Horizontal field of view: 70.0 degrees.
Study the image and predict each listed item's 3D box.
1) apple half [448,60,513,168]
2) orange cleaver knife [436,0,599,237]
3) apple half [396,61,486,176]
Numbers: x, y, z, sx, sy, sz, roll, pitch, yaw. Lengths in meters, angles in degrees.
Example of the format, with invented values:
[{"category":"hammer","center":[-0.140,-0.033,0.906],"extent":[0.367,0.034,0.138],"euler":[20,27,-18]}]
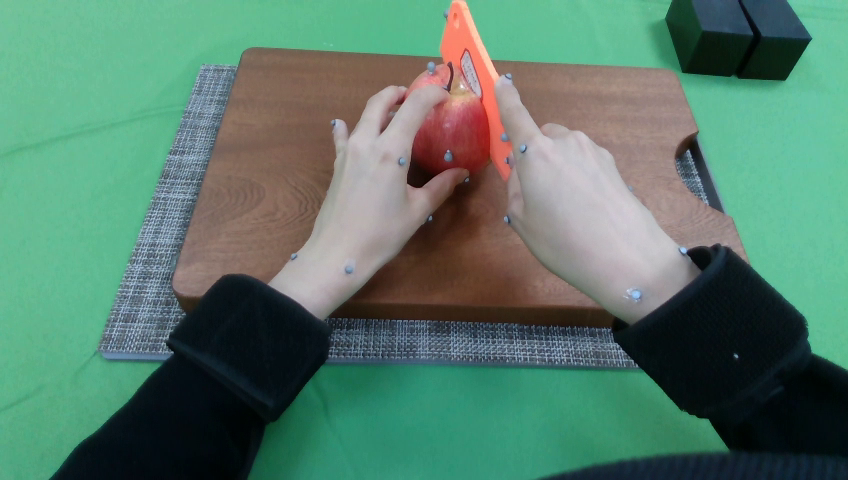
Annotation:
[{"category":"apple half","center":[0.047,-0.096,0.461],"extent":[0.033,0.082,0.080],"euler":[-16,55,-19]},{"category":"orange cleaver knife","center":[0.052,-0.077,0.405],"extent":[0.012,0.078,0.209],"euler":[-17,60,-15]},{"category":"apple half","center":[0.007,-0.085,0.450],"extent":[0.053,0.075,0.080],"euler":[-18,60,-11]}]
